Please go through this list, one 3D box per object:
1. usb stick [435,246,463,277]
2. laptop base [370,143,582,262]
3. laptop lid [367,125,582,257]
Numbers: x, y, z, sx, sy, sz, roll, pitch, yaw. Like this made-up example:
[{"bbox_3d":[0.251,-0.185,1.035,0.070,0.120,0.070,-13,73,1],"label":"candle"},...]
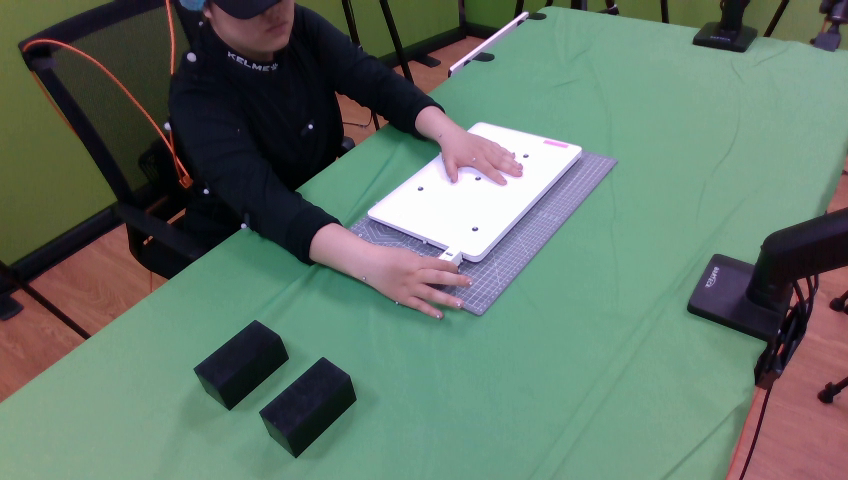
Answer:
[{"bbox_3d":[0.041,0.029,0.911,0.021,0.027,0.059,25,43,27],"label":"usb stick"},{"bbox_3d":[0.098,-0.096,1.071,0.233,0.023,0.355,20,47,34],"label":"laptop base"},{"bbox_3d":[0.095,-0.104,1.067,0.239,0.013,0.358,22,48,34],"label":"laptop lid"}]
